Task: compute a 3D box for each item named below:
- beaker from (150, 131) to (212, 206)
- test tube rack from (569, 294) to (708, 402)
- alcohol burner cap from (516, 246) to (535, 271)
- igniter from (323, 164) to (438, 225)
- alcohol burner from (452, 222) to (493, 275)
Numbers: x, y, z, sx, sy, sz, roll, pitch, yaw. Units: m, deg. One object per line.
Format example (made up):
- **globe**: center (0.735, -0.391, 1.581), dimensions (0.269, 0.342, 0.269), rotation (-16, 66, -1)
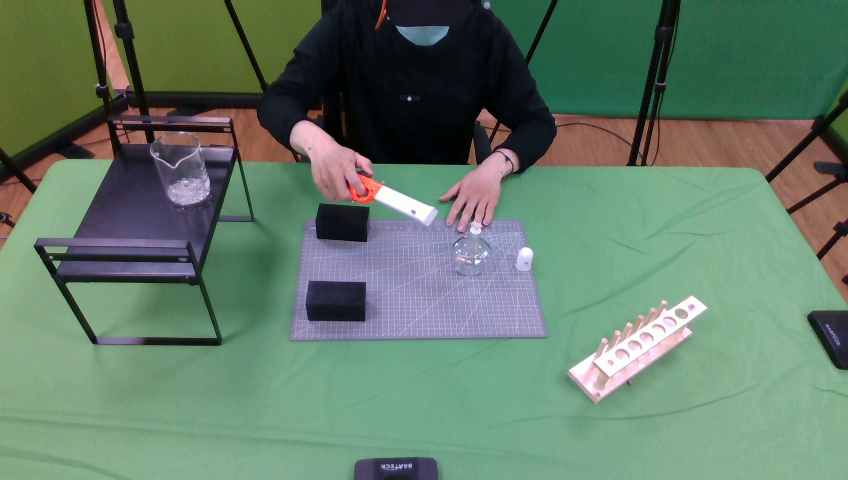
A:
- **beaker**: center (-0.385, -0.110, 0.969), dimensions (0.074, 0.101, 0.083), rotation (-6, 48, -9)
- **test tube rack**: center (0.360, 0.167, 1.015), dimensions (0.242, 0.085, 0.066), rotation (-25, 52, -25)
- **alcohol burner cap**: center (0.195, 0.032, 1.158), dimensions (0.034, 0.048, 0.033), rotation (3, 45, -2)
- **igniter**: center (-0.084, -0.084, 1.054), dimensions (0.275, 0.025, 0.057), rotation (26, 78, 39)
- **alcohol burner**: center (0.092, 0.008, 1.124), dimensions (0.078, 0.119, 0.077), rotation (2, 49, -2)
